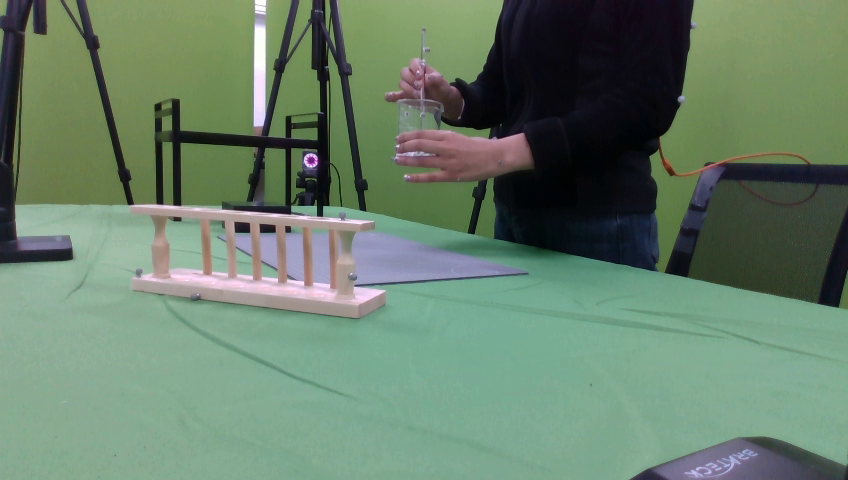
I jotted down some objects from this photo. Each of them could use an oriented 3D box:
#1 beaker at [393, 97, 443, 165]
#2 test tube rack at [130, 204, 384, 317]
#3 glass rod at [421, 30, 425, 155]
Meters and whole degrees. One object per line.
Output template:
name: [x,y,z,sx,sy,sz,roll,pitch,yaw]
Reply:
beaker: [-0.009,-0.169,0.955,0.084,0.100,0.073,0,6,-28]
test tube rack: [-0.163,0.013,0.589,0.242,0.085,0.067,5,8,17]
glass rod: [-0.002,-0.234,0.963,0.008,0.199,0.008,0,0,0]
